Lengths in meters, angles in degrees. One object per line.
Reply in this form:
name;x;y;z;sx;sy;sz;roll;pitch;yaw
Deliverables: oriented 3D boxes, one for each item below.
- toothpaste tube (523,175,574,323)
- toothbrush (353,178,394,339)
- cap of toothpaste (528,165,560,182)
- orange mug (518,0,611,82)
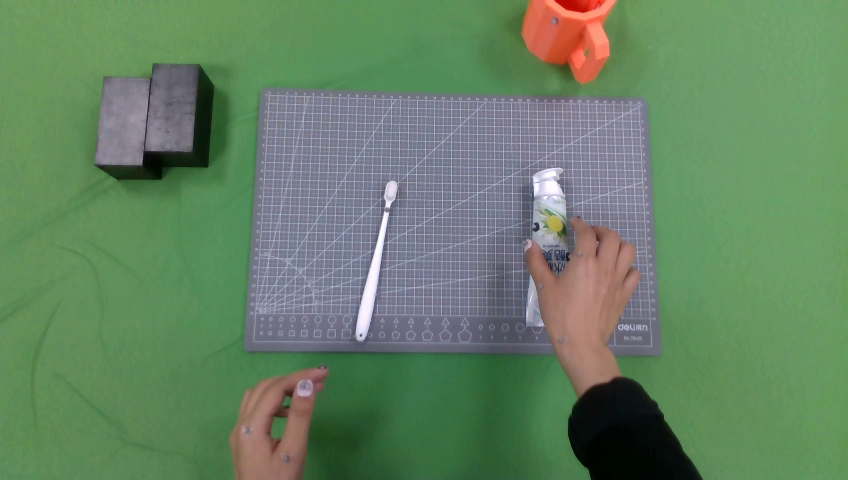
toothpaste tube;0.134;0.009;0.666;0.055;0.034;0.164;-2;83;5
toothbrush;-0.055;0.018;0.661;0.014;0.016;0.181;13;80;-13
cap of toothpaste;0.135;-0.073;0.675;0.037;0.037;0.011;-12;77;-5
orange mug;0.164;-0.247;0.681;0.083;0.101;0.125;-20;76;-6
